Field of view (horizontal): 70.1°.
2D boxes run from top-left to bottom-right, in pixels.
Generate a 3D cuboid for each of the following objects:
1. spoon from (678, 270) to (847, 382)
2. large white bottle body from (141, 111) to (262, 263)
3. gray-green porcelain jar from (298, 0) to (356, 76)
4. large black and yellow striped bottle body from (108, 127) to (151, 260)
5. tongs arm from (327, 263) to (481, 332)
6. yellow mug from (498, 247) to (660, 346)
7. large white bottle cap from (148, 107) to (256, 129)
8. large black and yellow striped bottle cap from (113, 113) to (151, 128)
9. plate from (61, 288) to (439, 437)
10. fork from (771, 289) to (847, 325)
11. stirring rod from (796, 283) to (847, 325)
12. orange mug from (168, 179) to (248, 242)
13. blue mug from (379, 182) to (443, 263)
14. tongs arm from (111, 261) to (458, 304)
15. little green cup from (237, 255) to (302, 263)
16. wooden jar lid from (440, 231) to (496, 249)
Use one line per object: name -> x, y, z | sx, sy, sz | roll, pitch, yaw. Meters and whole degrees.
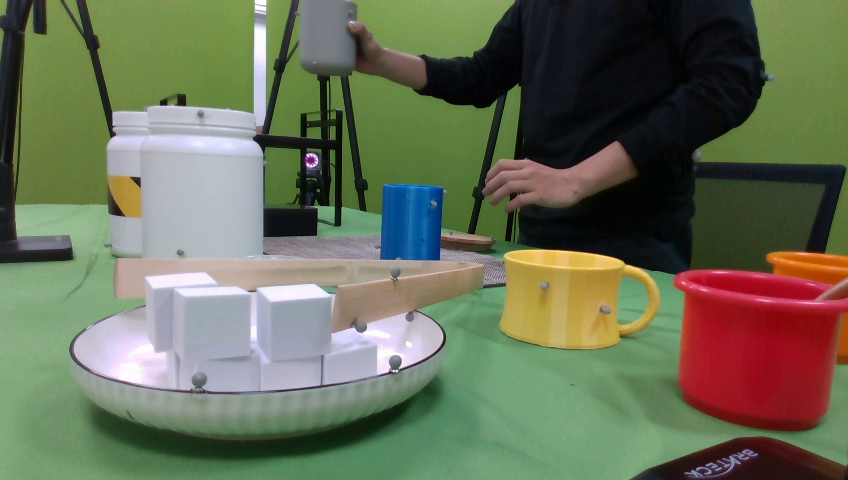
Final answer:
spoon -> 0.229, 0.031, 0.338 | 0.193, 0.021, 0.042 | -44, -17, 27
large white bottle body -> -0.254, -0.053, 0.697 | 0.131, 0.184, 0.130 | 2, 7, 0
gray-green porcelain jar -> -0.182, -0.374, 1.128 | 0.106, 0.126, 0.106 | 3, 10, 0
large black and yellow striped bottle body -> -0.350, -0.071, 0.812 | 0.131, 0.184, 0.130 | 2, 7, 0
tongs arm -> -0.003, 0.036, 0.493 | 0.050, 0.026, 0.386 | 1, 0, 19
yellow mug -> 0.130, 0.045, 0.508 | 0.131, 0.064, 0.100 | 4, 7, 6
large white bottle cap -> -0.250, -0.137, 0.686 | 0.115, 0.018, 0.115 | 2, 8, 0
large black and yellow striped bottle cap -> -0.348, -0.154, 0.800 | 0.115, 0.019, 0.115 | 2, 6, 0
plate -> -0.095, 0.069, 0.362 | 0.208, 0.039, 0.207 | 3, 7, 0
fork -> 0.335, 0.018, 0.443 | 0.028, 0.018, 0.207 | -1, -36, -20
stirring rod -> 0.346, 0.019, 0.460 | 0.014, 0.176, 0.006 | -16, 59, -26
orange mug -> -0.351, -0.050, 0.986 | 0.126, 0.101, 0.083 | -3, 8, -9
blue mug -> -0.020, -0.026, 0.833 | 0.082, 0.106, 0.116 | 1, 7, -7
tongs arm -> -0.080, 0.032, 0.527 | 0.028, 0.027, 0.389 | -3, -3, 33
little green cup -> -0.150, 0.038, 0.589 | 0.061, 0.038, 0.061 | 3, 7, 0
wooden jar lid -> 0.066, 0.000, 1.011 | 0.108, 0.020, 0.108 | 6, 7, 0
